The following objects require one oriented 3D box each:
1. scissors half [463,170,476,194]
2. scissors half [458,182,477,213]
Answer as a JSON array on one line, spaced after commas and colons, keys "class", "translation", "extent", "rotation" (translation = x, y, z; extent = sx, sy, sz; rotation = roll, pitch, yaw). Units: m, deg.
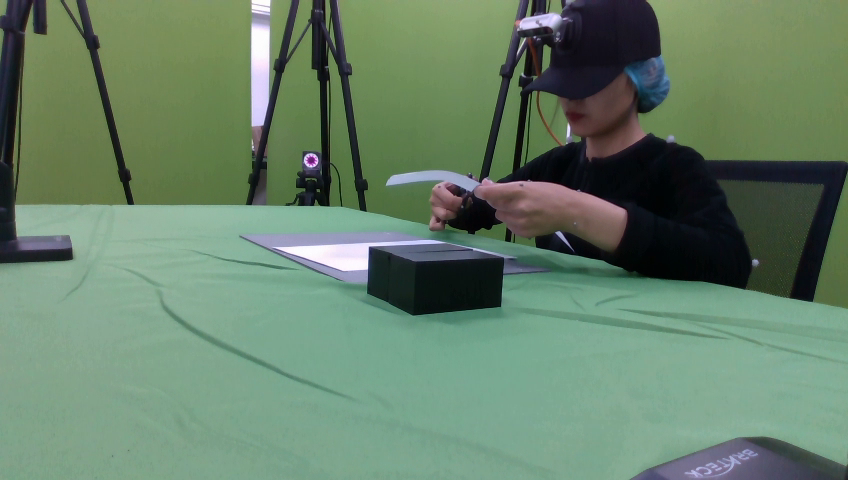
[{"class": "scissors half", "translation": [0.084, -0.100, 1.071], "extent": [0.013, 0.040, 0.175], "rotation": [12, 11, -2]}, {"class": "scissors half", "translation": [0.078, -0.079, 1.070], "extent": [0.013, 0.040, 0.175], "rotation": [17, -11, -2]}]
